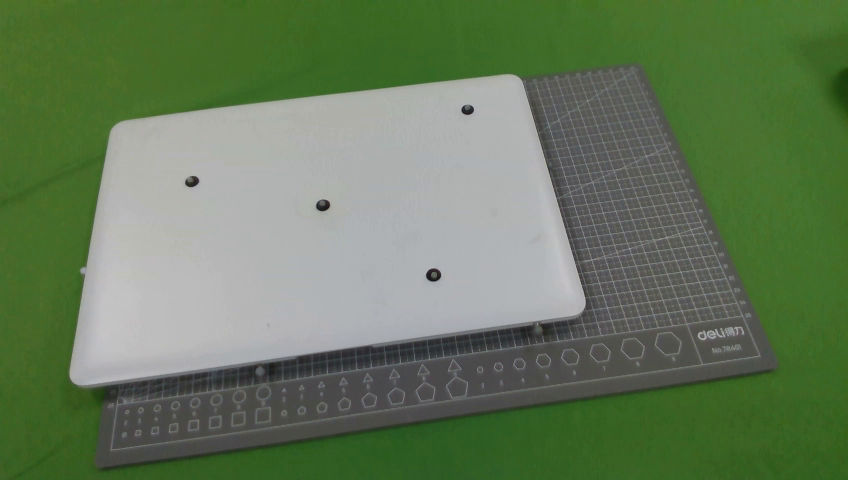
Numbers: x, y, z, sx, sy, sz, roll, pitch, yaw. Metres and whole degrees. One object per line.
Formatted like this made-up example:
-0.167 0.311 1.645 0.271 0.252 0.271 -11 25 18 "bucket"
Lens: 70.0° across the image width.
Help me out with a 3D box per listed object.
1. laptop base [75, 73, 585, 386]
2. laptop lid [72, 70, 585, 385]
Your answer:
-0.075 -0.021 0.474 0.354 0.023 0.233 -8 62 -2 "laptop base"
-0.076 -0.026 0.462 0.357 0.013 0.239 -6 61 -1 "laptop lid"
